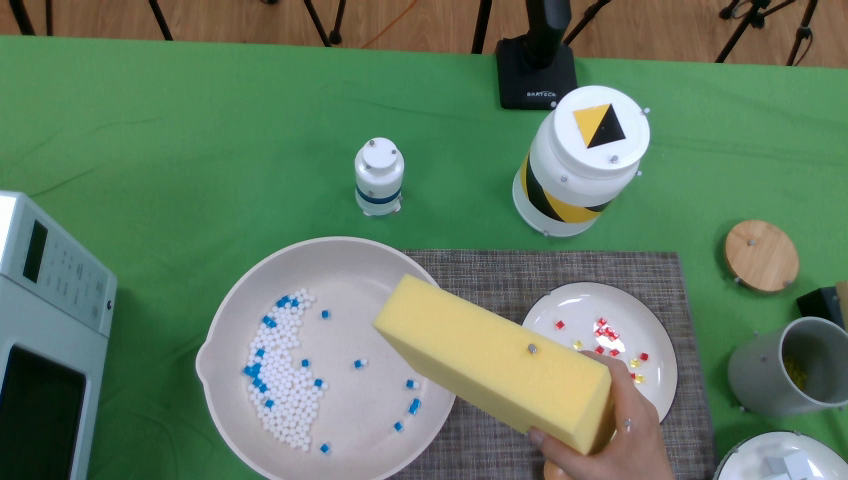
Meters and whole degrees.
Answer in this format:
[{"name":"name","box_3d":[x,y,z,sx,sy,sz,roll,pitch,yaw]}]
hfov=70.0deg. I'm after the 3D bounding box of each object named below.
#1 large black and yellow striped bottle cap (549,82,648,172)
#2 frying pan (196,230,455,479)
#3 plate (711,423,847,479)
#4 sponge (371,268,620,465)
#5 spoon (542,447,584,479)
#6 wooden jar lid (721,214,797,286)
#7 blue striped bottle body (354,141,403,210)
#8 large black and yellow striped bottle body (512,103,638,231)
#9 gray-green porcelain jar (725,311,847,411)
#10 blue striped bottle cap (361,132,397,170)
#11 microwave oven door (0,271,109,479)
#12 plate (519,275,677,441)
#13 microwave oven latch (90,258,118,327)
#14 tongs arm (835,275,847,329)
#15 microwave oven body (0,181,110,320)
[{"name":"large black and yellow striped bottle cap","box_3d":[0.204,-0.134,0.707,0.115,0.019,0.114,2,68,-5]},{"name":"frying pan","box_3d":[-0.098,0.224,0.670,0.307,0.103,0.483,-1,61,-5]},{"name":"plate","box_3d":[0.440,0.329,0.730,0.208,0.039,0.206,2,69,-5]},{"name":"sponge","box_3d":[0.064,0.112,0.550,0.205,0.119,0.061,23,70,33]},{"name":"spoon","box_3d":[0.214,0.317,0.714,0.193,0.022,0.041,39,53,7]},{"name":"wooden jar lid","box_3d":[0.473,0.015,0.861,0.108,0.021,0.107,2,71,-5]},{"name":"blue striped bottle body","box_3d":[-0.060,-0.091,0.787,0.063,0.121,0.062,2,69,-5]},{"name":"large black and yellow striped bottle body","box_3d":[0.196,-0.103,0.787,0.131,0.185,0.130,2,68,-5]},{"name":"gray-green porcelain jar","box_3d":[0.447,0.154,0.749,0.106,0.127,0.105,2,69,-5]},{"name":"blue striped bottle cap","box_3d":[-0.055,-0.109,0.739,0.044,0.021,0.044,2,66,-4]},{"name":"microwave oven door","box_3d":[-0.373,0.229,0.546,0.039,0.245,0.353,1,69,-6]},{"name":"plate","box_3d":[0.213,0.147,0.769,0.209,0.038,0.207,2,69,-5]},{"name":"microwave oven latch","box_3d":[-0.385,0.062,0.718,0.030,0.029,0.078,2,70,-6]},{"name":"tongs arm","box_3d":[0.579,0.231,0.752,0.051,0.026,0.383,-4,80,-9]},{"name":"microwave oven body","box_3d":[-0.520,0.189,0.551,0.326,0.261,0.438,1,70,-6]}]
